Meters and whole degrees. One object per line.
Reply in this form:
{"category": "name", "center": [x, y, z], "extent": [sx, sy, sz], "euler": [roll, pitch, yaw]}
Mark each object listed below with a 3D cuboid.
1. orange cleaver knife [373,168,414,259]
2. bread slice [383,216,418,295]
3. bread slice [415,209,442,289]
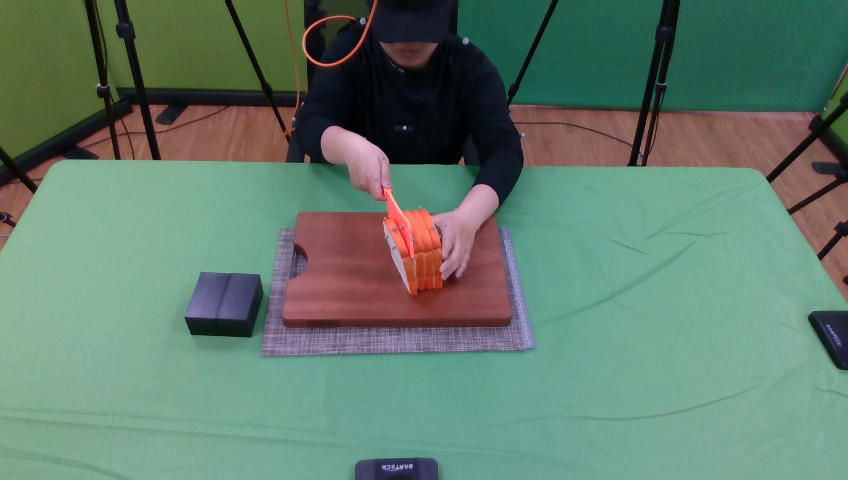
{"category": "orange cleaver knife", "center": [-0.055, -0.051, 1.066], "extent": [0.012, 0.077, 0.210], "euler": [-13, 42, -16]}
{"category": "bread slice", "center": [-0.044, 0.022, 1.062], "extent": [0.019, 0.132, 0.104], "euler": [-22, 48, -10]}
{"category": "bread slice", "center": [0.007, 0.012, 1.074], "extent": [0.018, 0.135, 0.106], "euler": [-14, 51, -14]}
